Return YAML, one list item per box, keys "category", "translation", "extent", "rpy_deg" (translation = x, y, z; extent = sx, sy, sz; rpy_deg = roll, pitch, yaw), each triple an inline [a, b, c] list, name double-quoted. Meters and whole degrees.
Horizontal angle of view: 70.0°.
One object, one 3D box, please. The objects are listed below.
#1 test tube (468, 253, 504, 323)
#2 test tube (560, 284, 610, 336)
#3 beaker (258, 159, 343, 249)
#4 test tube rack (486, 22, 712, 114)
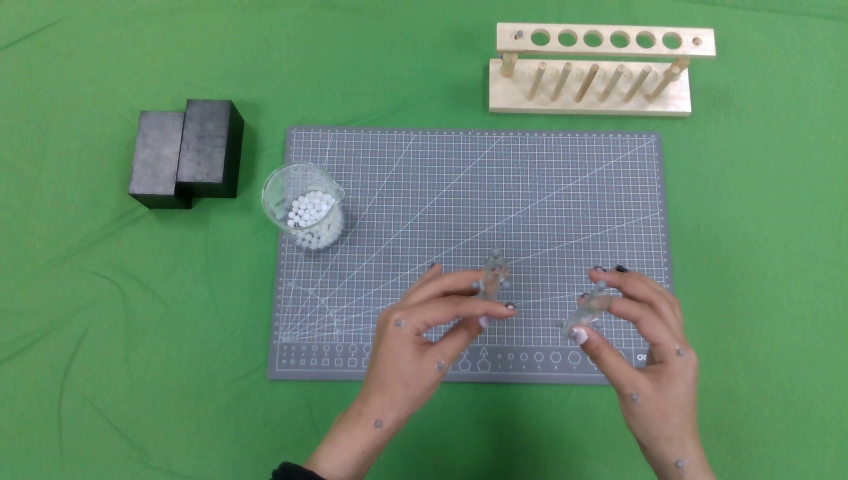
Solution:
- category: "test tube"
  translation: [0.047, 0.043, 0.482]
  extent: [0.017, 0.151, 0.017]
  rpy_deg: [0, 69, 0]
- category: "test tube"
  translation: [0.123, 0.058, 0.474]
  extent: [0.017, 0.151, 0.017]
  rpy_deg: [-1, 73, 5]
- category: "beaker"
  translation: [-0.125, -0.035, 0.654]
  extent: [0.084, 0.100, 0.073]
  rpy_deg: [-7, 76, -3]
- category: "test tube rack"
  translation: [0.198, -0.199, 0.709]
  extent: [0.242, 0.085, 0.066]
  rpy_deg: [1, 76, 0]
